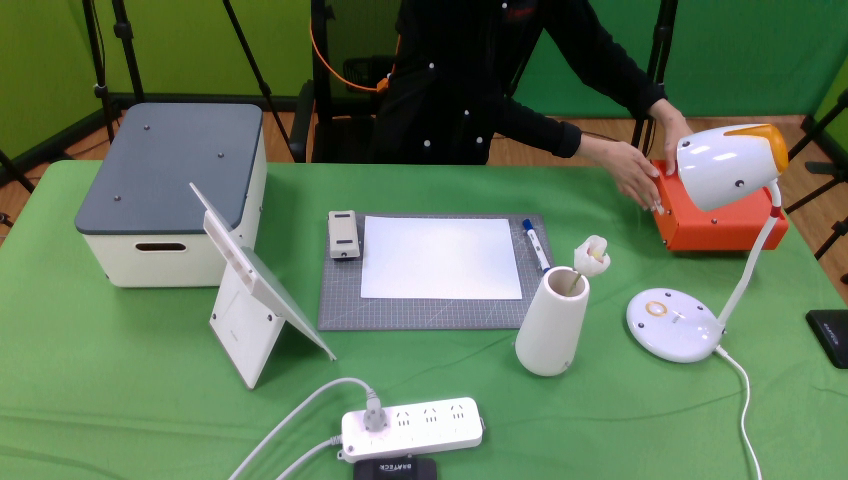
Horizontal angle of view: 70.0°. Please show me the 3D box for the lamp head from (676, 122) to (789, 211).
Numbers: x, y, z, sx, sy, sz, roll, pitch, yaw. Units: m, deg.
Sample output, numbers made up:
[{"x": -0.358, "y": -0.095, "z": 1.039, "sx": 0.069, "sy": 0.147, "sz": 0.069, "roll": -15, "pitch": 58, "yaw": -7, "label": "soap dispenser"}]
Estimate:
[{"x": 0.423, "y": -0.104, "z": 0.819, "sx": 0.122, "sy": 0.113, "sz": 0.112, "roll": -13, "pitch": 33, "yaw": 40, "label": "lamp head"}]

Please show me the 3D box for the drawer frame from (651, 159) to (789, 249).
[{"x": 0.571, "y": -0.075, "z": 1.214, "sx": 0.214, "sy": 0.083, "sz": 0.200, "roll": 0, "pitch": 45, "yaw": -1, "label": "drawer frame"}]

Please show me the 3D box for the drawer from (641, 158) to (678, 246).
[{"x": 0.565, "y": -0.076, "z": 1.212, "sx": 0.212, "sy": 0.073, "sz": 0.193, "roll": 2, "pitch": 45, "yaw": -2, "label": "drawer"}]

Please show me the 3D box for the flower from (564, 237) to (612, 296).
[{"x": 0.206, "y": 0.088, "z": 0.892, "sx": 0.038, "sy": 0.363, "sz": 0.044, "roll": -16, "pitch": 67, "yaw": -9, "label": "flower"}]

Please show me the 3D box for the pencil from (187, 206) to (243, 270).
[{"x": -0.401, "y": -0.008, "z": 1.176, "sx": 0.012, "sy": 0.012, "sz": 0.193, "roll": 15, "pitch": 44, "yaw": 10, "label": "pencil"}]

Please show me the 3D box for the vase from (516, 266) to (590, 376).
[{"x": 0.208, "y": 0.132, "z": 0.964, "sx": 0.098, "sy": 0.201, "sz": 0.097, "roll": 3, "pitch": 46, "yaw": -3, "label": "vase"}]

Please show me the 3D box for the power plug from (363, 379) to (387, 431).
[{"x": -0.072, "y": 0.252, "z": 0.910, "sx": 0.035, "sy": 0.053, "sz": 0.072, "roll": 3, "pitch": 44, "yaw": -1, "label": "power plug"}]

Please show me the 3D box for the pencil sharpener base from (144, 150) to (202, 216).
[{"x": -0.493, "y": -0.113, "z": 1.199, "sx": 0.061, "sy": 0.107, "sz": 0.076, "roll": 15, "pitch": 46, "yaw": 12, "label": "pencil sharpener base"}]

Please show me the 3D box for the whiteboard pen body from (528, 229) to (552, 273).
[{"x": 0.224, "y": 0.013, "z": 1.197, "sx": 0.017, "sy": 0.017, "sz": 0.140, "roll": -5, "pitch": 45, "yaw": -9, "label": "whiteboard pen body"}]

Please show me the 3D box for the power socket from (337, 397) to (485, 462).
[{"x": -0.018, "y": 0.285, "z": 0.915, "sx": 0.227, "sy": 0.033, "sz": 0.071, "roll": -5, "pitch": 46, "yaw": -8, "label": "power socket"}]

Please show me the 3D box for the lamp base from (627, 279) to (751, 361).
[{"x": 0.460, "y": 0.100, "z": 1.027, "sx": 0.178, "sy": 0.181, "sz": 0.160, "roll": 27, "pitch": 51, "yaw": 17, "label": "lamp base"}]

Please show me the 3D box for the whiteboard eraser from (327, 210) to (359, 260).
[{"x": -0.159, "y": -0.009, "z": 1.177, "sx": 0.055, "sy": 0.042, "sz": 0.112, "roll": -6, "pitch": 47, "yaw": -7, "label": "whiteboard eraser"}]

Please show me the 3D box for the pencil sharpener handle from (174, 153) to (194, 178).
[{"x": -0.479, "y": -0.156, "z": 1.225, "sx": 0.036, "sy": 0.068, "sz": 0.030, "roll": 24, "pitch": 48, "yaw": 2, "label": "pencil sharpener handle"}]

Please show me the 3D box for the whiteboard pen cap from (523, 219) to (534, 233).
[{"x": 0.214, "y": -0.027, "z": 1.239, "sx": 0.018, "sy": 0.018, "sz": 0.033, "roll": -5, "pitch": 45, "yaw": -9, "label": "whiteboard pen cap"}]

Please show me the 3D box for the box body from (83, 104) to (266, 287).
[{"x": -0.447, "y": -0.088, "z": 1.150, "sx": 0.254, "sy": 0.161, "sz": 0.361, "roll": -1, "pitch": 46, "yaw": -5, "label": "box body"}]

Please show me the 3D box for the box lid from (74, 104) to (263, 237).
[{"x": -0.443, "y": -0.139, "z": 1.095, "sx": 0.263, "sy": 0.015, "sz": 0.369, "roll": -1, "pitch": 45, "yaw": -5, "label": "box lid"}]

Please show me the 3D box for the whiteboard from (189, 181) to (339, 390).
[{"x": -0.292, "y": 0.096, "z": 0.929, "sx": 0.144, "sy": 0.307, "sz": 0.216, "roll": -37, "pitch": 57, "yaw": -10, "label": "whiteboard"}]
